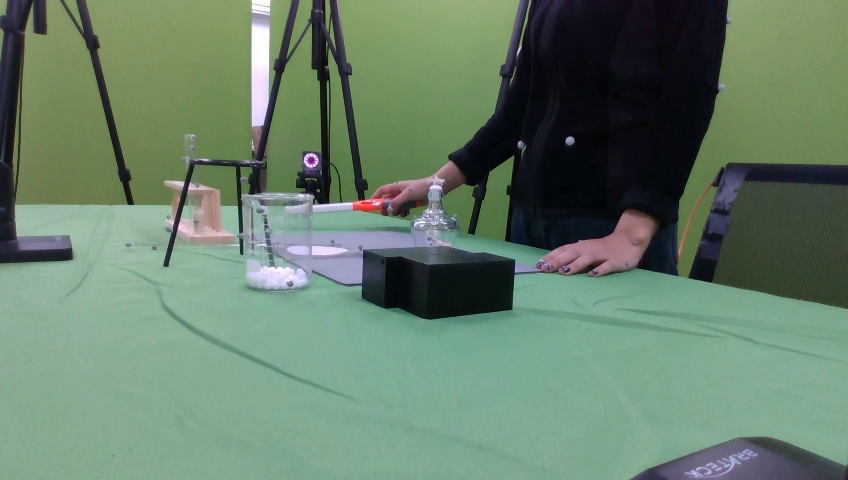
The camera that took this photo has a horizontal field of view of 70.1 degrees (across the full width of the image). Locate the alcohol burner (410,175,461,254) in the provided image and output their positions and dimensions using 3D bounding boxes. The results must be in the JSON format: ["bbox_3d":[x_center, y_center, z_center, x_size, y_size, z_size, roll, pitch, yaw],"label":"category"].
[{"bbox_3d":[0.018,-0.040,0.931,0.078,0.119,0.078,0,7,0],"label":"alcohol burner"}]

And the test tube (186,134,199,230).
[{"bbox_3d":[-0.360,-0.089,0.946,0.017,0.150,0.017,0,10,0],"label":"test tube"}]

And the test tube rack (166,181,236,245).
[{"bbox_3d":[-0.383,-0.051,1.024,0.067,0.085,0.241,-2,9,-31],"label":"test tube rack"}]

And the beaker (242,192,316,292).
[{"bbox_3d":[-0.157,0.000,0.642,0.084,0.100,0.074,4,7,19],"label":"beaker"}]

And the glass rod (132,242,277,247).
[{"bbox_3d":[-0.316,0.007,0.884,0.201,0.008,0.008,0,7,-27],"label":"glass rod"}]

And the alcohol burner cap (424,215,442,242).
[{"bbox_3d":[0.017,-0.022,1.099,0.034,0.048,0.034,1,10,0],"label":"alcohol burner cap"}]

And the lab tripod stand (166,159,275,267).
[{"bbox_3d":[-0.249,-0.036,0.764,0.148,0.131,0.148,2,9,0],"label":"lab tripod stand"}]

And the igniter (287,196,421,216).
[{"bbox_3d":[-0.139,-0.069,1.239,0.278,0.025,0.057,-6,11,-23],"label":"igniter"}]

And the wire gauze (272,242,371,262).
[{"bbox_3d":[-0.155,0.013,0.877,0.122,0.011,0.124,-3,10,-29],"label":"wire gauze"}]
